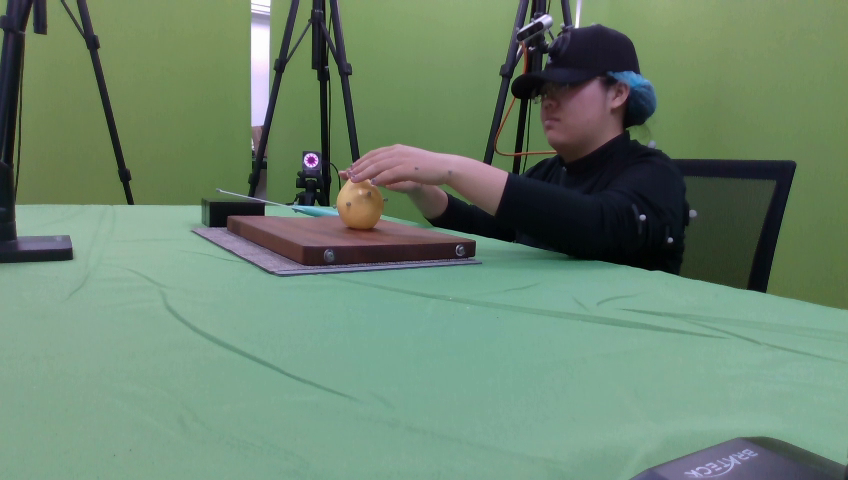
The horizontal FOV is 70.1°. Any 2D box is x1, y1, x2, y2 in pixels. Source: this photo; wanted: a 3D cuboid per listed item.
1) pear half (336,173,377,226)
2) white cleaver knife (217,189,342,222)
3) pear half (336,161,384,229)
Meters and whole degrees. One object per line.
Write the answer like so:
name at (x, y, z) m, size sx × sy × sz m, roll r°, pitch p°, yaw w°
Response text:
pear half at (-0.116, -0.068, 1.004) m, size 0.071 × 0.088 × 0.031 m, roll -11°, pitch 14°, yaw -31°
white cleaver knife at (-0.275, -0.066, 1.233) m, size 0.288 × 0.021 × 0.065 m, roll 11°, pitch 6°, yaw -29°
pear half at (-0.099, -0.072, 0.972) m, size 0.077 × 0.110 × 0.055 m, roll -7°, pitch 11°, yaw -31°
